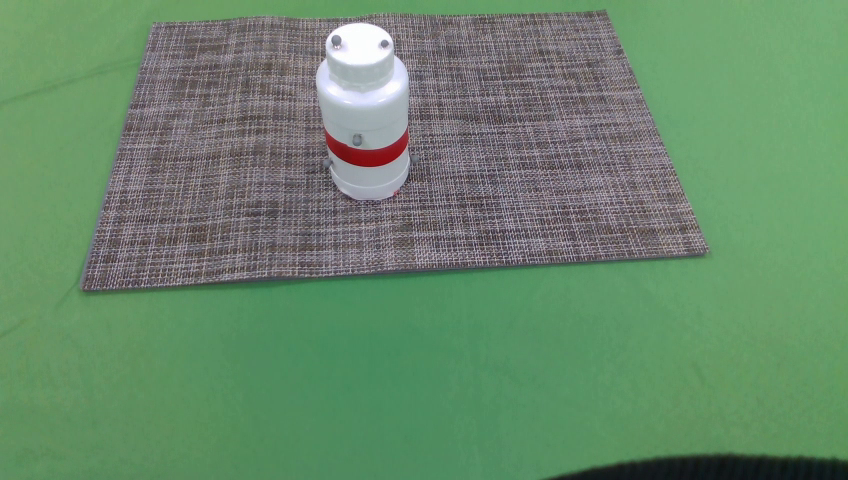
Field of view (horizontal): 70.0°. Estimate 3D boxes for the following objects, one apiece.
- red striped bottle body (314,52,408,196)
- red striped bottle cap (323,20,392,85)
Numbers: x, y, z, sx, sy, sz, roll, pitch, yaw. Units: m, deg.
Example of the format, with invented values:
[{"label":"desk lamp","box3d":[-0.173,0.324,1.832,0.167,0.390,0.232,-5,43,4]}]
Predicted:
[{"label":"red striped bottle body","box3d":[-0.044,-0.092,0.436,0.063,0.120,0.062,1,55,-1]},{"label":"red striped bottle cap","box3d":[-0.043,-0.122,0.392,0.044,0.018,0.044,1,58,-2]}]
